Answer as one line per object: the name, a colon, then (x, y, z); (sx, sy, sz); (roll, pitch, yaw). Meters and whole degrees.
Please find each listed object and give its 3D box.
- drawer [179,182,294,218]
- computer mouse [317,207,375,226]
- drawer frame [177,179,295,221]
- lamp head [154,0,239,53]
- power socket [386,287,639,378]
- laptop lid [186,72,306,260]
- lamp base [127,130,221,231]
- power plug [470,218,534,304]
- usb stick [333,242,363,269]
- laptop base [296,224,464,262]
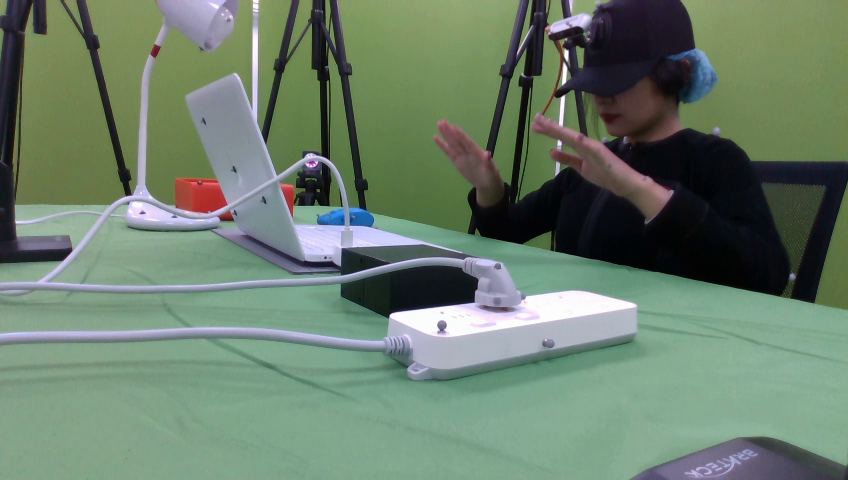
drawer: (-0.420, -0.091, 1.354); (0.213, 0.073, 0.193); (-3, 10, -31)
computer mouse: (-0.163, -0.048, 1.264); (0.118, 0.041, 0.062); (-6, 12, -29)
drawer frame: (-0.422, -0.092, 1.352); (0.215, 0.082, 0.200); (-3, 10, -32)
lamp head: (-0.406, -0.402, 1.059); (0.123, 0.112, 0.112); (25, 5, -6)
power socket: (0.074, 0.064, 0.461); (0.228, 0.032, 0.072); (-4, 8, -34)
laptop lid: (-0.263, -0.102, 0.852); (0.013, 0.242, 0.355); (-25, 20, -25)
lamp base: (-0.469, -0.112, 1.108); (0.179, 0.180, 0.160); (0, 7, 3)
power plug: (0.054, 0.014, 0.454); (0.035, 0.072, 0.052); (-22, -3, -40)
usb stick: (-0.096, 0.017, 0.743); (0.021, 0.027, 0.059); (-4, 10, -31)
laptop base: (-0.127, 0.002, 0.946); (0.237, 0.023, 0.352); (2, 6, -30)
